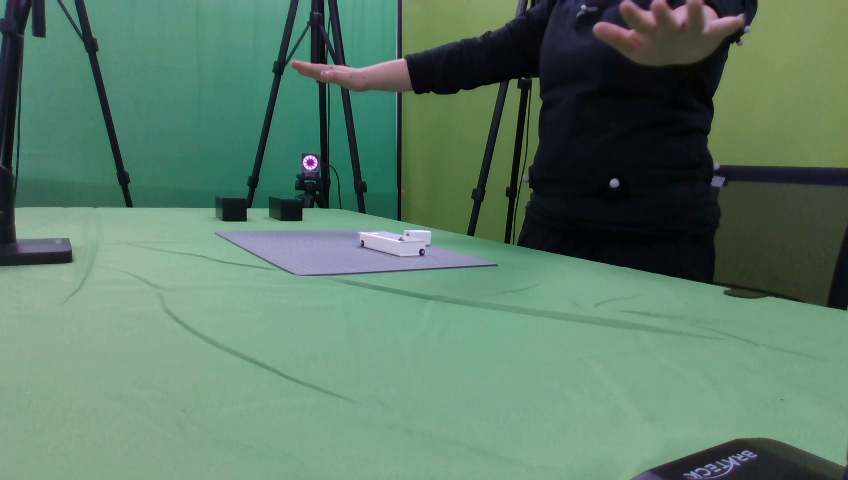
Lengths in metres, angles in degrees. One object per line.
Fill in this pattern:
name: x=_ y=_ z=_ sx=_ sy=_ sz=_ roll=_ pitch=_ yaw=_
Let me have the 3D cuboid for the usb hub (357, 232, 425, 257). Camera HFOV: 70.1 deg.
usb hub: x=-0.055 y=0.005 z=0.947 sx=0.050 sy=0.025 sz=0.124 roll=-3 pitch=9 yaw=-36

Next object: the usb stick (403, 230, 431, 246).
usb stick: x=-0.018 y=-0.003 z=1.020 sx=0.059 sy=0.027 sz=0.021 roll=-6 pitch=14 yaw=-34
